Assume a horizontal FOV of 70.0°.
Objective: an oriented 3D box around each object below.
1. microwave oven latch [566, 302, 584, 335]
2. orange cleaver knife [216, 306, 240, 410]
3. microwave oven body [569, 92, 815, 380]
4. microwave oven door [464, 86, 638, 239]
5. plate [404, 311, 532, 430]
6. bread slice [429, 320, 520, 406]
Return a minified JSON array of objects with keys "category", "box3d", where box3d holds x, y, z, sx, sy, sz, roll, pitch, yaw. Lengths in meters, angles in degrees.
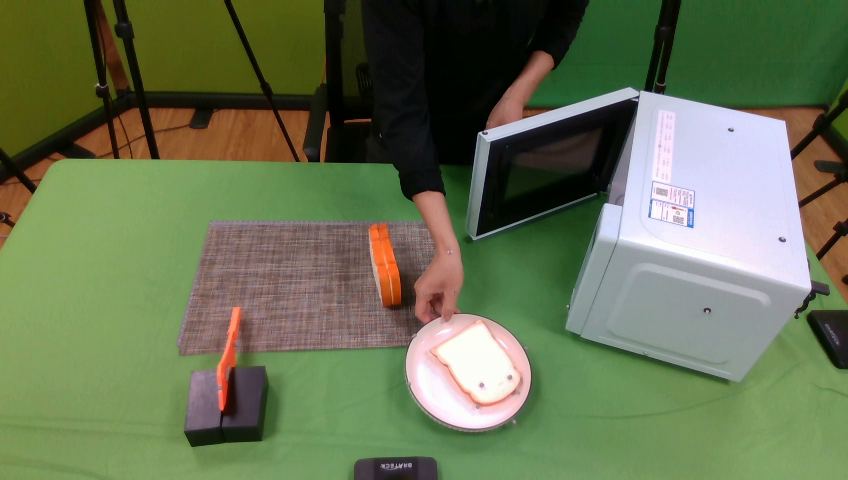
[{"category":"microwave oven latch","box3d":[0.268,0.126,1.059,0.030,0.029,0.079,16,46,12]},{"category":"orange cleaver knife","box3d":[-0.307,0.180,0.957,0.012,0.077,0.210,-2,25,-8]},{"category":"microwave oven body","box3d":[0.468,-0.022,1.082,0.325,0.261,0.440,15,46,11]},{"category":"microwave oven door","box3d":[0.248,-0.151,1.184,0.356,0.245,0.039,-20,51,-22]},{"category":"plate","box3d":[0.069,0.211,0.978,0.208,0.039,0.206,4,49,-5]},{"category":"bread slice","box3d":[0.090,0.204,0.986,0.107,0.018,0.133,-30,62,-26]}]
